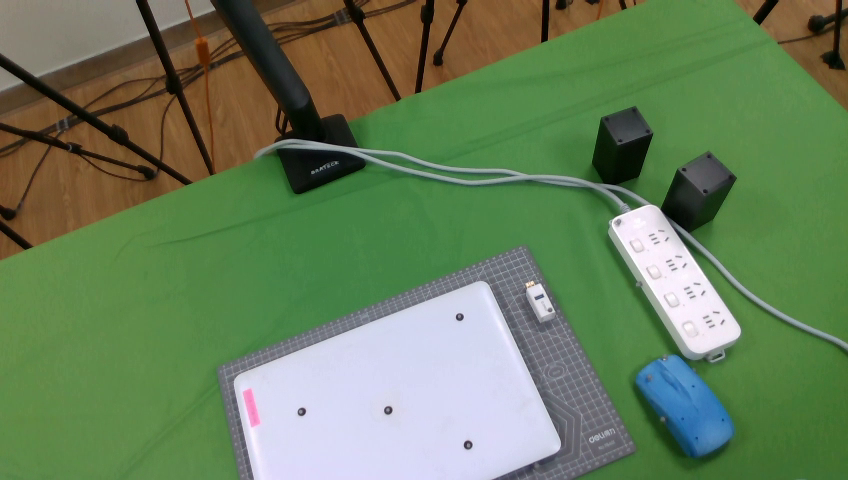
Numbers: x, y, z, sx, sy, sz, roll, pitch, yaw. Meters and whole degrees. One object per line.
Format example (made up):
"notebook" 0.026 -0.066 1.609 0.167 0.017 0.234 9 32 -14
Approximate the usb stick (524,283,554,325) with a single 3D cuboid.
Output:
"usb stick" 0.147 0.079 0.788 0.021 0.027 0.058 -23 59 -2

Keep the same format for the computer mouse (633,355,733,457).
"computer mouse" 0.300 0.189 0.704 0.063 0.041 0.116 -27 57 -5

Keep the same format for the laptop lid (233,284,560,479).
"laptop lid" -0.042 0.211 0.735 0.357 0.013 0.239 -20 63 -3

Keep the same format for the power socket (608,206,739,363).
"power socket" 0.315 0.051 0.780 0.072 0.033 0.224 -21 61 -3

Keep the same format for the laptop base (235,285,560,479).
"laptop base" -0.042 0.215 0.746 0.354 0.023 0.233 -21 64 -4
